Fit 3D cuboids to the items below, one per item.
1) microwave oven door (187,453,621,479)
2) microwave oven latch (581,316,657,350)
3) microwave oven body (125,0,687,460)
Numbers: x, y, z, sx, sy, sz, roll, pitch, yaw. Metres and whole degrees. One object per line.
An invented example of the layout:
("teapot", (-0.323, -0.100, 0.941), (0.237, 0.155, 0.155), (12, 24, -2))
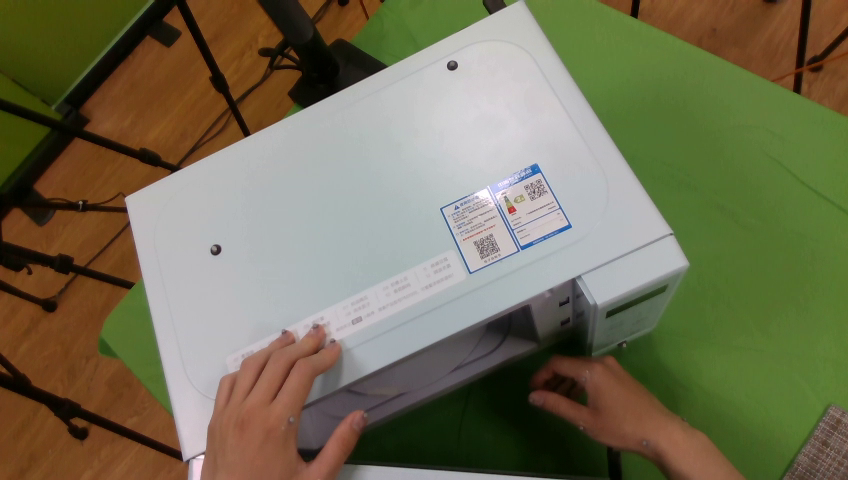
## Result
("microwave oven door", (0.005, 0.223, 0.558), (0.355, 0.246, 0.039), (-1, 69, 13))
("microwave oven latch", (0.214, 0.093, 0.667), (0.079, 0.030, 0.030), (-24, 67, 5))
("microwave oven body", (-0.023, 0.014, 0.647), (0.442, 0.262, 0.323), (-26, 67, 4))
